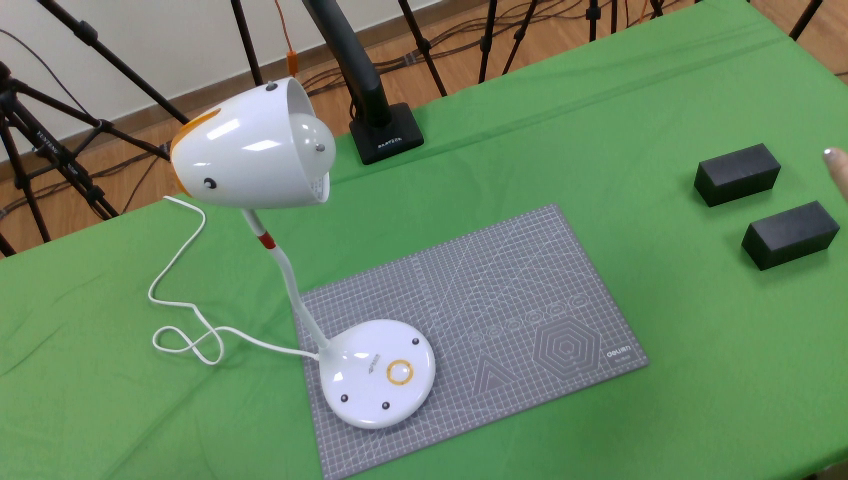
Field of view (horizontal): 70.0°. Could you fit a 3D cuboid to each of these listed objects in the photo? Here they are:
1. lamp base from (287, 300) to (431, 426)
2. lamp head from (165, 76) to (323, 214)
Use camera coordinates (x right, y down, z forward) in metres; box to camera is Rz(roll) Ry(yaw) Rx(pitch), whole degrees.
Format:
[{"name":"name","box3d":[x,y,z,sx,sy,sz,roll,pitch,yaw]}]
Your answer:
[{"name":"lamp base","box3d":[-0.096,0.135,0.782,0.178,0.182,0.159,1,56,17]},{"name":"lamp head","box3d":[-0.159,-0.073,0.536,0.123,0.113,0.111,-16,54,8]}]
